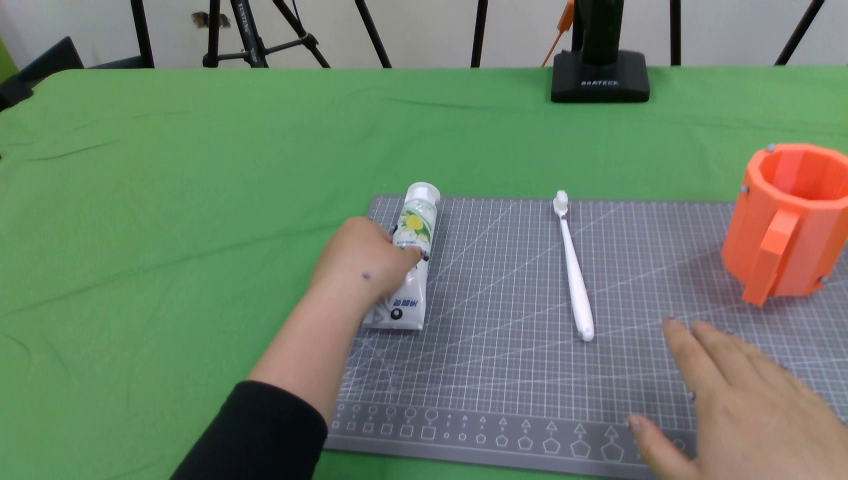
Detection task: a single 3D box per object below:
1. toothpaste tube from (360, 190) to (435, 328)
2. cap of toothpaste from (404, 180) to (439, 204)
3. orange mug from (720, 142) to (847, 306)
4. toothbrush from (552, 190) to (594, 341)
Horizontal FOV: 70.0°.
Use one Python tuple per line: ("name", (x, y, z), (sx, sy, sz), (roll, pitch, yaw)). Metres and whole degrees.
("toothpaste tube", (-0.017, 0.012, 0.563), (0.055, 0.035, 0.163), (-2, 46, 15))
("cap of toothpaste", (-0.003, -0.045, 0.614), (0.037, 0.038, 0.011), (2, 48, 10))
("orange mug", (0.289, -0.008, 0.486), (0.083, 0.102, 0.126), (24, 47, 31))
("toothbrush", (0.133, 0.015, 0.545), (0.014, 0.017, 0.180), (9, 43, -6))
